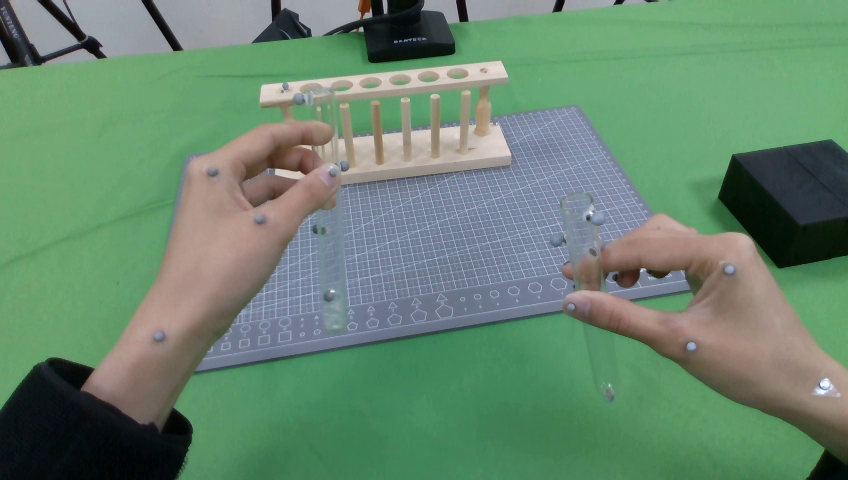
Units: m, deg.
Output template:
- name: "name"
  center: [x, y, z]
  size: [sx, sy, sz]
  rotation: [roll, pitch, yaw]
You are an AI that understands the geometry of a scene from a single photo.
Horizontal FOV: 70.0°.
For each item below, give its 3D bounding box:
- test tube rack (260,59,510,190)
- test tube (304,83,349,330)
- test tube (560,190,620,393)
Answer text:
- name: "test tube rack"
  center: [-0.036, -0.118, 0.616]
  size: [0.242, 0.086, 0.066]
  rotation: [-7, 44, -4]
- name: "test tube"
  center: [-0.055, -0.014, 0.353]
  size: [0.017, 0.151, 0.017]
  rotation: [0, 22, 1]
- name: "test tube"
  center: [0.091, 0.035, 0.323]
  size: [0.017, 0.152, 0.017]
  rotation: [-12, 40, 11]
